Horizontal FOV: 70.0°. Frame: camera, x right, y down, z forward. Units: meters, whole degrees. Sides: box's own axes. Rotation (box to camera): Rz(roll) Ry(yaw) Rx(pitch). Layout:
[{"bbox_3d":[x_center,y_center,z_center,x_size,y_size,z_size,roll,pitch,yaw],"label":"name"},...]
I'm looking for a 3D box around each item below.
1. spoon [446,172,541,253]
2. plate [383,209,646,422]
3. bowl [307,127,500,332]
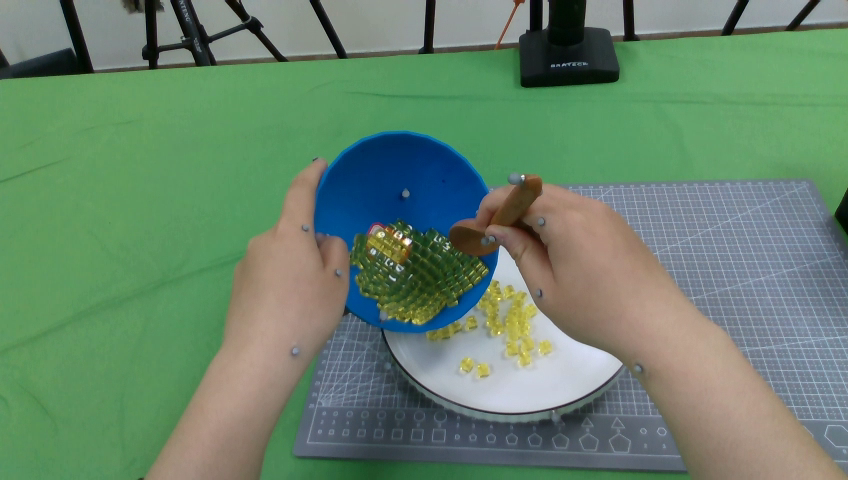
[{"bbox_3d":[0.044,-0.012,0.385,0.042,0.194,0.021,19,82,-3],"label":"spoon"},{"bbox_3d":[0.070,0.057,0.494,0.207,0.039,0.205,-4,45,5],"label":"plate"},{"bbox_3d":[-0.025,-0.003,0.471,0.151,0.152,0.076,-37,9,-25],"label":"bowl"}]
